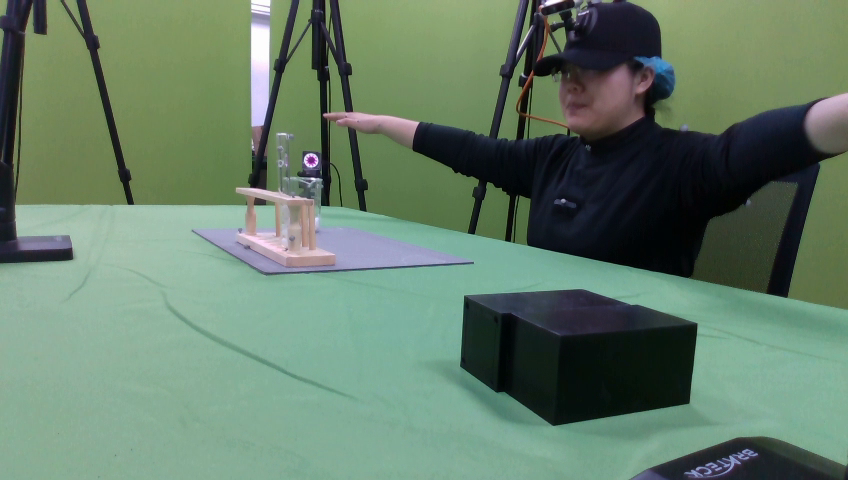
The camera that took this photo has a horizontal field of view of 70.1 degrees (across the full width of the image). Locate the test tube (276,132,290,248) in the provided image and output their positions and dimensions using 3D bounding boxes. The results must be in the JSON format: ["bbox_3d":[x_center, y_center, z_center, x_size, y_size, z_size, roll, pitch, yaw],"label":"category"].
[{"bbox_3d":[-0.180,-0.063,0.778,0.017,0.150,0.017,0,9,0],"label":"test tube"}]

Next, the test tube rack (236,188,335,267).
[{"bbox_3d":[-0.202,-0.025,0.855,0.067,0.085,0.241,-2,9,-31],"label":"test tube rack"}]

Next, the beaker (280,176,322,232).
[{"bbox_3d":[-0.224,-0.065,1.111,0.074,0.100,0.083,-2,10,-30],"label":"beaker"}]
